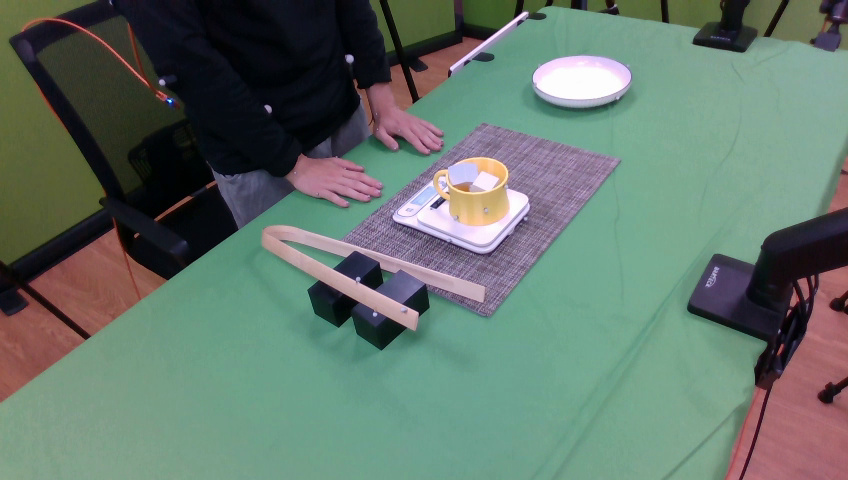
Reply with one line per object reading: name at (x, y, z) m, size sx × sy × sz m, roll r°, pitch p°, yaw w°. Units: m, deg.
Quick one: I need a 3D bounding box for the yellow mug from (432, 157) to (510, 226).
yellow mug at (0.072, -0.082, 0.968) m, size 0.130 × 0.064 × 0.100 m, roll 13°, pitch 45°, yaw 24°

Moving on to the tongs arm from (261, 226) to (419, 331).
tongs arm at (-0.132, 0.044, 0.867) m, size 0.381 × 0.026 × 0.051 m, roll 21°, pitch 23°, yaw 39°

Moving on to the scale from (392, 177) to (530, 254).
scale at (0.060, -0.050, 1.006) m, size 0.199 × 0.032 × 0.149 m, roll 22°, pitch 48°, yaw 30°

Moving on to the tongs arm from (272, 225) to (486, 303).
tongs arm at (-0.081, 0.032, 0.930) m, size 0.385 × 0.028 × 0.028 m, roll 16°, pitch 24°, yaw 26°

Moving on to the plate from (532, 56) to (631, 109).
plate at (0.335, -0.336, 1.301) m, size 0.207 × 0.039 × 0.206 m, roll -4°, pitch 41°, yaw 4°
